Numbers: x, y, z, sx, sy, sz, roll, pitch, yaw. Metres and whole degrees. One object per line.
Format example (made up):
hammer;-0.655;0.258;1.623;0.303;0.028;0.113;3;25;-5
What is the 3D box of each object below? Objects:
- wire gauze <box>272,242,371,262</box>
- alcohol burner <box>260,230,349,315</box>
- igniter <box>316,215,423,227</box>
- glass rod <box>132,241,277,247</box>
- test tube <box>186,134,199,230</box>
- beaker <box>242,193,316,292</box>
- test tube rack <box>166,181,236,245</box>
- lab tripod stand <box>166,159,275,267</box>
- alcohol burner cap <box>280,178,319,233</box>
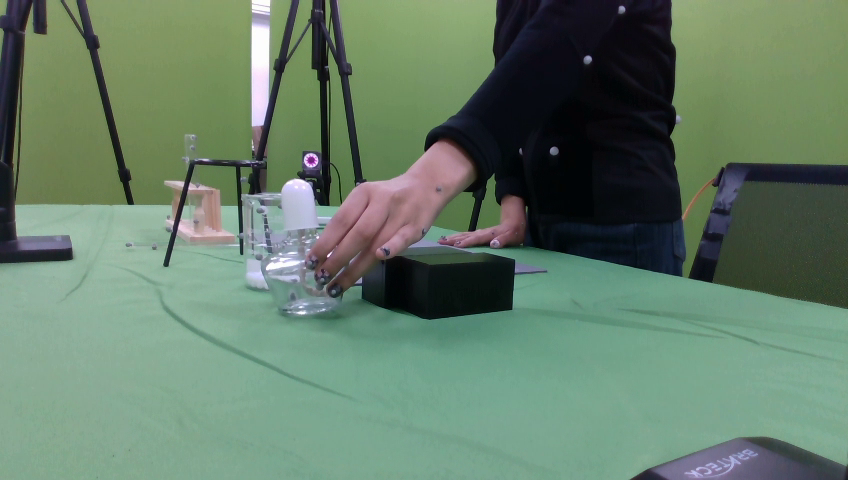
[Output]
wire gauze;-0.156;0.014;0.878;0.122;0.011;0.124;-3;10;-29
alcohol burner;-0.107;0.005;0.535;0.078;0.119;0.078;-6;7;1
igniter;-0.136;-0.039;1.240;0.278;0.025;0.057;0;-2;-22
glass rod;-0.316;0.006;0.885;0.201;0.008;0.008;0;7;-27
test tube;-0.360;-0.089;0.946;0.017;0.150;0.017;0;10;0
beaker;-0.157;0.000;0.642;0.084;0.100;0.074;4;7;19
test tube rack;-0.383;-0.051;1.024;0.067;0.085;0.241;-2;9;-31
lab tripod stand;-0.249;-0.036;0.764;0.148;0.131;0.148;2;9;0
alcohol burner cap;-0.111;-0.031;0.532;0.034;0.048;0.034;-6;2;0
